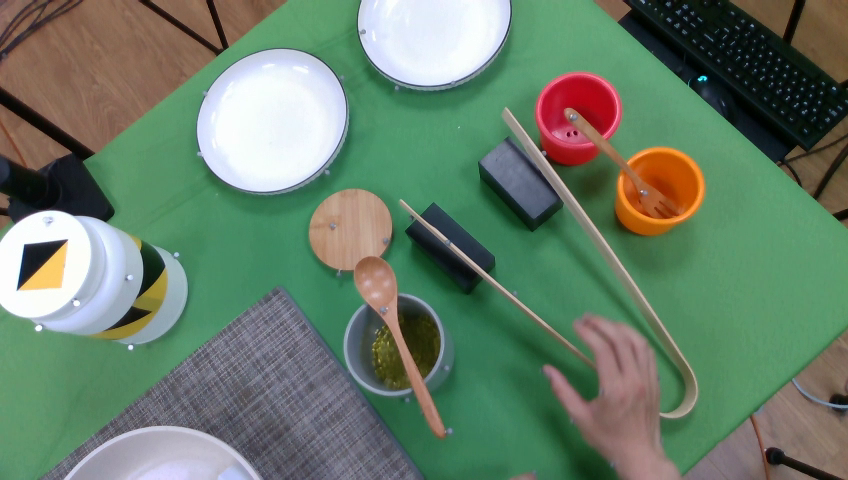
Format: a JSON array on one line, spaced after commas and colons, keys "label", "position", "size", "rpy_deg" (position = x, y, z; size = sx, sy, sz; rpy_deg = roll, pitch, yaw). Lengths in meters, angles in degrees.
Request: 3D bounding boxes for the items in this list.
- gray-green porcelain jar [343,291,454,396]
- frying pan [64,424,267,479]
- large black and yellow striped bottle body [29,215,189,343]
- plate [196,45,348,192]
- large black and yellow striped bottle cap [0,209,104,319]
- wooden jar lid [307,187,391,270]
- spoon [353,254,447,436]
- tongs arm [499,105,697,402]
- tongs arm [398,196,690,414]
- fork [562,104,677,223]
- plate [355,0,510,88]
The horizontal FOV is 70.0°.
[{"label": "gray-green porcelain jar", "position": [-0.022, 0.118, 0.671], "size": [0.106, 0.127, 0.105], "rpy_deg": [-2, 75, 8]}, {"label": "frying pan", "position": [-0.288, 0.449, 0.633], "size": [0.306, 0.103, 0.484], "rpy_deg": [0, 68, 9]}, {"label": "large black and yellow striped bottle body", "position": [-0.380, 0.047, 0.709], "size": [0.130, 0.185, 0.130], "rpy_deg": [-2, 75, 8]}, {"label": "plate", "position": [-0.200, -0.160, 0.812], "size": [0.207, 0.039, 0.206], "rpy_deg": [-2, 76, 8]}, {"label": "large black and yellow striped bottle cap", "position": [-0.392, 0.024, 0.629], "size": [0.115, 0.019, 0.114], "rpy_deg": [-2, 77, 7]}, {"label": "wooden jar lid", "position": [-0.093, -0.014, 0.770], "size": [0.108, 0.021, 0.108], "rpy_deg": [-2, 77, 7]}, {"label": "spoon", "position": [-0.022, 0.103, 0.601], "size": [0.041, 0.022, 0.192], "rpy_deg": [-23, 77, -2]}, {"label": "tongs arm", "position": [0.193, 0.009, 0.682], "size": [0.028, 0.028, 0.386], "rpy_deg": [-32, 85, -11]}, {"label": "tongs arm", "position": [0.130, 0.066, 0.673], "size": [0.384, 0.026, 0.050], "rpy_deg": [42, 82, 3]}, {"label": "fork", "position": [0.220, -0.083, 0.675], "size": [0.209, 0.018, 0.028], "rpy_deg": [37, 91, -29]}, {"label": "plate", "position": [0.012, -0.296, 0.815], "size": [0.209, 0.038, 0.208], "rpy_deg": [-2, 76, 8]}]
